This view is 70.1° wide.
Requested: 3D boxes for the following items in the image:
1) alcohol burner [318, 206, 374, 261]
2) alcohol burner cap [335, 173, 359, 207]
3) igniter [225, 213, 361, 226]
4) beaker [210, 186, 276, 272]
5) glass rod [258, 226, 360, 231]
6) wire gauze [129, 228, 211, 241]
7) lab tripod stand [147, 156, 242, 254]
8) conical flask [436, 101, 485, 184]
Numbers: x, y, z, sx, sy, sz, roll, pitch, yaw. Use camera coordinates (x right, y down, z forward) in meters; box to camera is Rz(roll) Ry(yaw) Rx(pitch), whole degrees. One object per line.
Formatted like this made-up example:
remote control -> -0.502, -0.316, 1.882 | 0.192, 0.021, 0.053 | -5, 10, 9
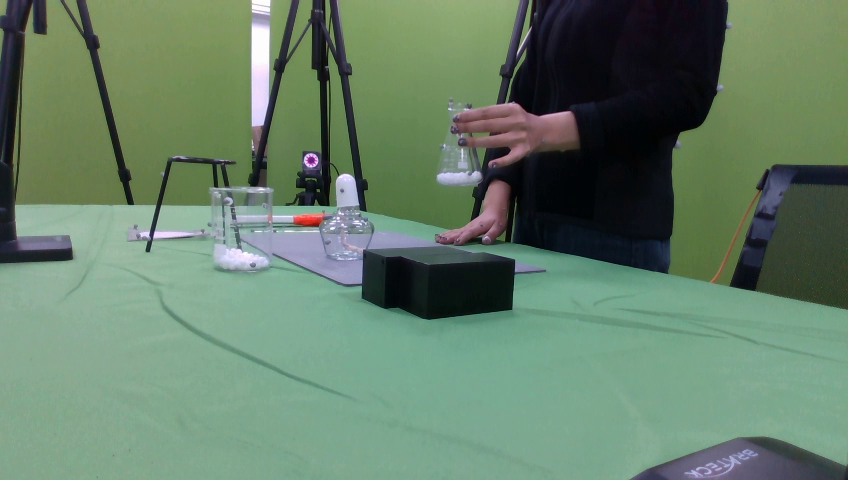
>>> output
alcohol burner -> -0.107, -0.032, 0.833 | 0.078, 0.119, 0.078 | 1, 6, 0
alcohol burner cap -> -0.108, -0.068, 0.829 | 0.034, 0.048, 0.034 | -7, 4, 1
igniter -> -0.257, -0.042, 1.221 | 0.278, 0.025, 0.057 | -2, -2, -32
beaker -> -0.224, -0.014, 0.738 | 0.084, 0.100, 0.074 | 4, 7, 16
glass rod -> -0.215, -0.022, 1.151 | 0.201, 0.008, 0.008 | -2, 8, -27
wire gauze -> -0.419, -0.010, 0.999 | 0.122, 0.011, 0.124 | 0, 6, -25
lab tripod stand -> -0.310, -0.050, 0.858 | 0.148, 0.131, 0.148 | 4, 6, 0
conical flask -> 0.055, -0.149, 0.917 | 0.075, 0.122, 0.075 | -1, 14, 1
